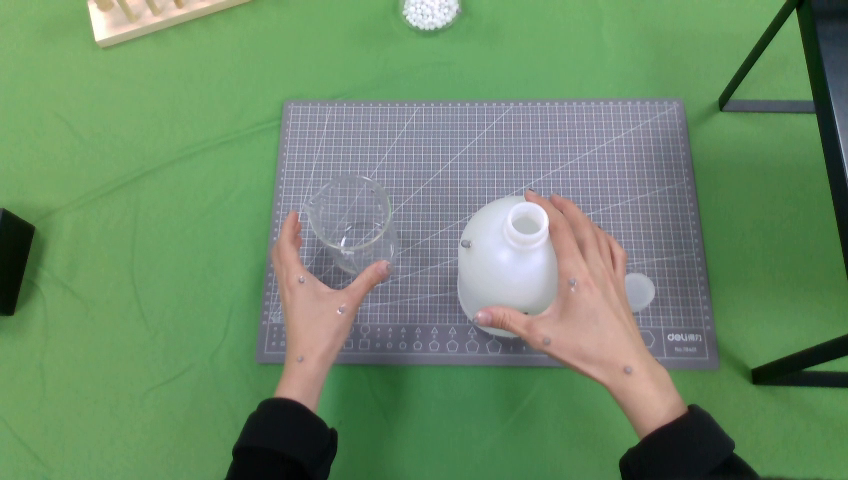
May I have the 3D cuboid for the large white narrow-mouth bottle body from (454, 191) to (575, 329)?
[{"bbox_3d":[0.077,0.014,0.524,0.102,0.196,0.101,-1,72,4],"label":"large white narrow-mouth bottle body"}]

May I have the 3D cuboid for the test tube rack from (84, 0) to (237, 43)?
[{"bbox_3d":[-0.293,-0.320,0.712,0.242,0.086,0.066,-20,71,-5],"label":"test tube rack"}]

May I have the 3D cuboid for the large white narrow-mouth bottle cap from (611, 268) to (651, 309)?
[{"bbox_3d":[0.204,0.049,0.597,0.038,0.024,0.037,-1,72,4],"label":"large white narrow-mouth bottle cap"}]

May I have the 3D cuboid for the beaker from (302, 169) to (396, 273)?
[{"bbox_3d":[-0.068,-0.014,0.587,0.084,0.101,0.073,10,71,6],"label":"beaker"}]

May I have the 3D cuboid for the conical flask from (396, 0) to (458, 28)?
[{"bbox_3d":[0.001,-0.304,0.676,0.075,0.122,0.075,-1,70,3],"label":"conical flask"}]
